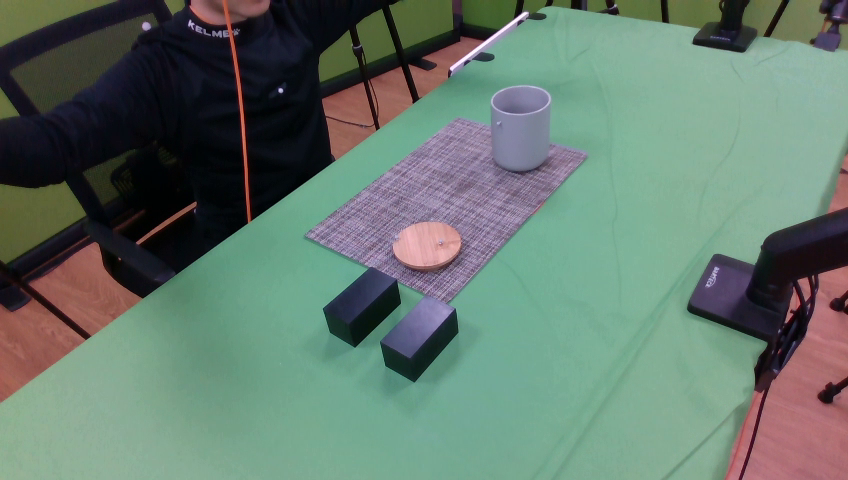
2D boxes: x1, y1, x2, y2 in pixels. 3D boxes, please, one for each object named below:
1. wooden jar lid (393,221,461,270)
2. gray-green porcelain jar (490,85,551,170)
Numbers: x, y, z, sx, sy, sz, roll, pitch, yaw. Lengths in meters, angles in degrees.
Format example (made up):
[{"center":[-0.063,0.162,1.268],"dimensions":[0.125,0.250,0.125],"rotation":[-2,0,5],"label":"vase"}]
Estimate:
[{"center":[0.005,0.010,0.951],"dimensions":[0.108,0.021,0.108],"rotation":[-4,40,4],"label":"wooden jar lid"},{"center":[0.173,-0.198,1.087],"dimensions":[0.106,0.127,0.105],"rotation":[-4,41,4],"label":"gray-green porcelain jar"}]
